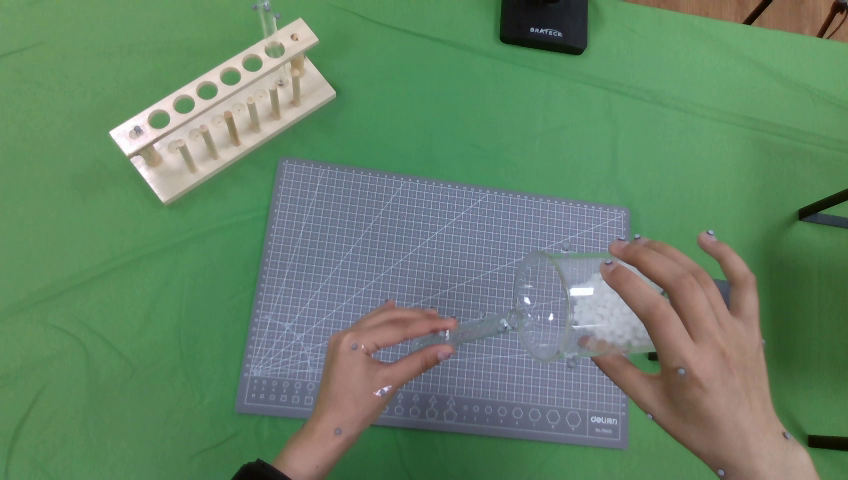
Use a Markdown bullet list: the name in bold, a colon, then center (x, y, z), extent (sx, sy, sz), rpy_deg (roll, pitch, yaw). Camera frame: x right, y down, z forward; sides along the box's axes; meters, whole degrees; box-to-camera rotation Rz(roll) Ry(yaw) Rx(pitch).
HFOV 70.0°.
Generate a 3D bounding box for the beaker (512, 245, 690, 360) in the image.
- **beaker**: center (0.120, 0.043, 0.416), extent (0.101, 0.084, 0.073), rpy_deg (-1, 70, -19)

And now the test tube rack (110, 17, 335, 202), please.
- **test tube rack**: center (-0.218, -0.148, 0.693), extent (0.242, 0.085, 0.066), rpy_deg (-37, 84, -16)

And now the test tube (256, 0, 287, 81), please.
- **test tube**: center (-0.166, -0.221, 0.668), extent (0.017, 0.151, 0.017), rpy_deg (2, 73, -6)

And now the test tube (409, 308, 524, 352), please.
- **test tube**: center (0.028, 0.076, 0.495), extent (0.017, 0.150, 0.017), rpy_deg (10, 69, -29)
